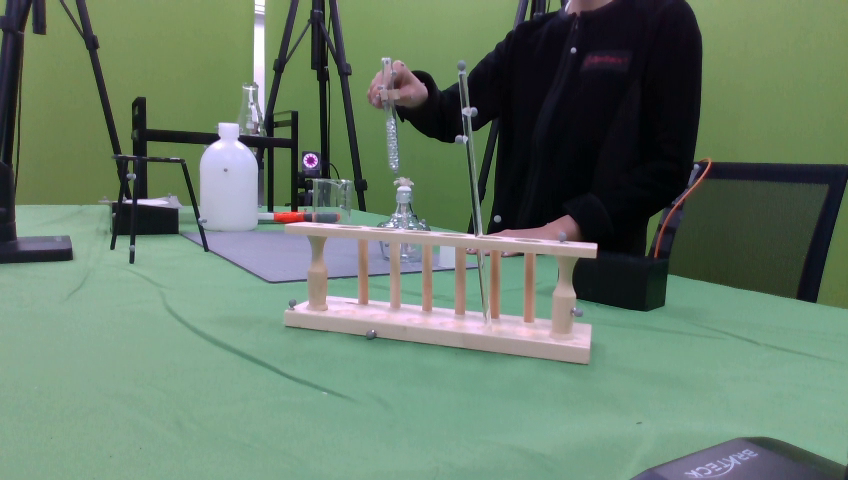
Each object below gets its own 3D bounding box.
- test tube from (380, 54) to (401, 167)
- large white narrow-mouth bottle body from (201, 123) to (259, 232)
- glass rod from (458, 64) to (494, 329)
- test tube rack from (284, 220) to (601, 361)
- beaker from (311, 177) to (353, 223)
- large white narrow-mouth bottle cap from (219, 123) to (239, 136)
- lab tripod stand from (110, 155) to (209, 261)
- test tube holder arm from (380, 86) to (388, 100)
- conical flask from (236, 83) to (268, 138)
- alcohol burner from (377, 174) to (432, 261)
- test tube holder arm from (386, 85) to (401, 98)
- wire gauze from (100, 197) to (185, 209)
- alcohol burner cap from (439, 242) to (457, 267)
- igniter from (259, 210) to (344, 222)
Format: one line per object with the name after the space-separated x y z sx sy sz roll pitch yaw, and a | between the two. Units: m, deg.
-0.045 -0.175 0.822 0.017 0.150 0.017 -5 11 1 | test tube
-0.358 -0.116 1.116 0.102 0.194 0.102 2 8 0 | large white narrow-mouth bottle body
0.039 -0.029 0.449 0.008 0.199 0.008 -7 9 1 | glass rod
0.013 0.032 0.482 0.242 0.085 0.067 4 7 16 | test tube rack
-0.167 -0.064 1.106 0.074 0.100 0.083 -2 9 -27 | beaker
-0.356 -0.201 1.104 0.038 0.024 0.037 2 8 0 | large white narrow-mouth bottle cap
-0.361 -0.046 0.806 0.148 0.131 0.148 2 5 0 | lab tripod stand
-0.058 -0.214 0.882 0.013 0.015 0.178 -6 12 -4 | test tube holder arm
-0.400 -0.298 1.396 0.075 0.122 0.075 2 8 0 | conical flask
-0.027 -0.031 0.838 0.078 0.119 0.078 0 6 0 | alcohol burner
-0.046 -0.206 0.839 0.010 0.015 0.087 -9 12 -13 | test tube holder arm
-0.469 -0.062 1.008 0.126 0.011 0.121 -2 8 -25 | wire gauze
0.037 0.011 0.807 0.034 0.048 0.034 4 8 0 | alcohol burner cap
-0.303 -0.049 1.258 0.278 0.025 0.057 -2 -2 -28 | igniter
